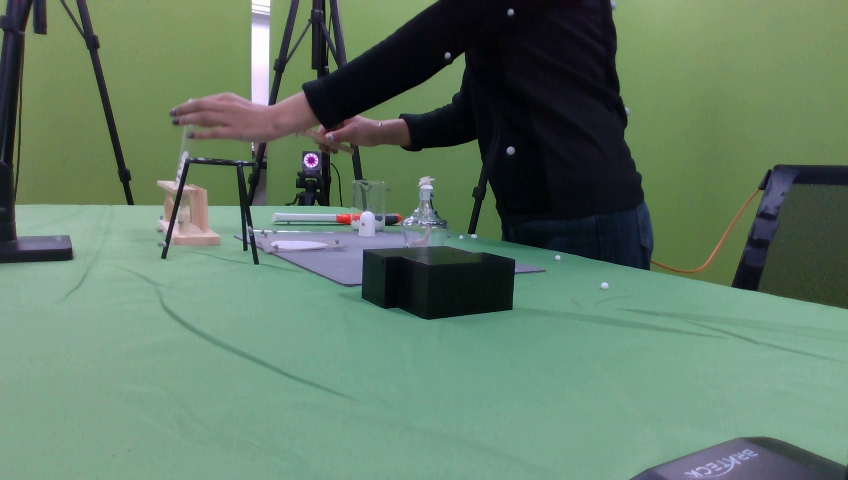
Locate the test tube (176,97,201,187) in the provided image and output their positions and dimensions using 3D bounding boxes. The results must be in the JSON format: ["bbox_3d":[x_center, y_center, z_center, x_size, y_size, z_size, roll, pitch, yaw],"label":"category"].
[{"bbox_3d":[-0.377,-0.154,0.968,0.017,0.150,0.017,9,-3,1],"label":"test tube"}]

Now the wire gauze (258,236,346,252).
[{"bbox_3d":[-0.189,0.005,0.931,0.122,0.011,0.124,1,7,-21],"label":"wire gauze"}]

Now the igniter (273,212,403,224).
[{"bbox_3d":[-0.179,-0.048,1.290,0.278,0.025,0.057,-1,-2,-24],"label":"igniter"}]

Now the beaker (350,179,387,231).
[{"bbox_3d":[-0.111,-0.069,1.205,0.074,0.100,0.084,2,8,0],"label":"beaker"}]

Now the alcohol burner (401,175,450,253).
[{"bbox_3d":[0.003,-0.040,0.933,0.078,0.119,0.078,2,9,0],"label":"alcohol burner"}]

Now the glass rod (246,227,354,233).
[{"bbox_3d":[-0.224,-0.017,1.109,0.201,0.008,0.008,1,7,-27],"label":"glass rod"}]

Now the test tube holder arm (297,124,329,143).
[{"bbox_3d":[-0.208,-0.200,1.139,0.010,0.015,0.088,8,-2,26],"label":"test tube holder arm"}]

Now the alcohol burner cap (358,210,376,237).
[{"bbox_3d":[-0.104,-0.030,1.098,0.034,0.048,0.034,3,8,0],"label":"alcohol burner cap"}]

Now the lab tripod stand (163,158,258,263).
[{"bbox_3d":[-0.265,-0.041,0.802,0.148,0.131,0.148,4,7,0],"label":"lab tripod stand"}]

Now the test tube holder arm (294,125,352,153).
[{"bbox_3d":[-0.194,-0.196,1.182,0.013,0.015,0.179,8,-2,26],"label":"test tube holder arm"}]

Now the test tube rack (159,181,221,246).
[{"bbox_3d":[-0.395,-0.050,1.010,0.067,0.085,0.241,-2,8,-28],"label":"test tube rack"}]
